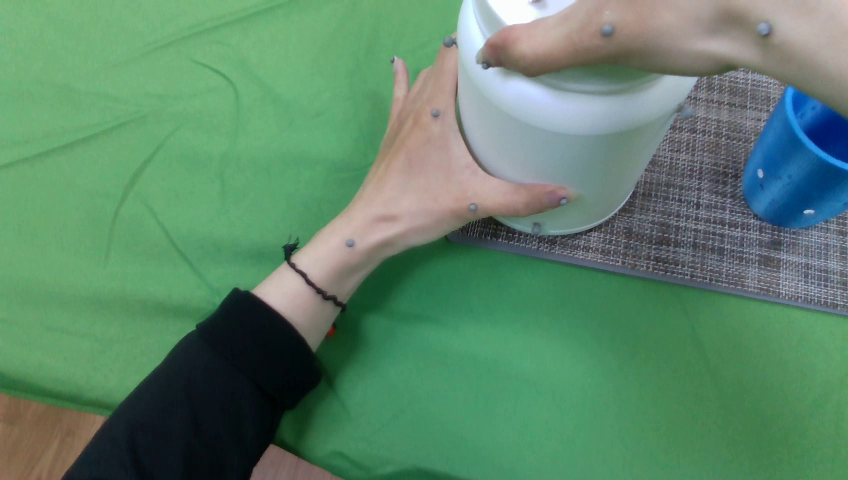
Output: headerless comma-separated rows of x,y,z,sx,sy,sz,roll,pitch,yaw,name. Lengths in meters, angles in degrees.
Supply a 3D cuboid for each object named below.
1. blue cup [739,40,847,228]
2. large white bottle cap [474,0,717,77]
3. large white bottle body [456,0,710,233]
0.251,-0.055,0.385,0.092,0.101,0.092,-1,66,3,blue cup
0.080,-0.127,0.285,0.115,0.018,0.114,-1,67,3,large white bottle cap
0.085,-0.095,0.363,0.130,0.186,0.129,-1,68,3,large white bottle body
